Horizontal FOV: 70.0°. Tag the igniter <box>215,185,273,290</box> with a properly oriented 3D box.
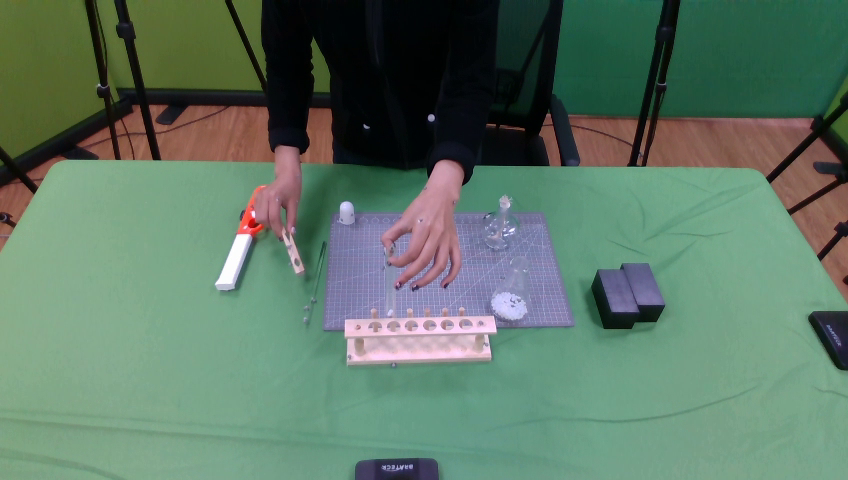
[{"bbox_3d":[-0.348,-0.014,1.182,0.057,0.025,0.275,-1,45,8],"label":"igniter"}]

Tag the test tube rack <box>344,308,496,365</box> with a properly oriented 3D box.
[{"bbox_3d":[-0.009,0.154,1.007,0.242,0.085,0.066,-1,46,-5],"label":"test tube rack"}]

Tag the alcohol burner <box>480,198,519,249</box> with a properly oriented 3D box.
[{"bbox_3d":[0.150,-0.038,1.182,0.078,0.119,0.077,3,47,-3],"label":"alcohol burner"}]

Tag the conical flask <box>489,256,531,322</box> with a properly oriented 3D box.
[{"bbox_3d":[0.158,0.081,1.060,0.075,0.122,0.075,2,46,-2],"label":"conical flask"}]

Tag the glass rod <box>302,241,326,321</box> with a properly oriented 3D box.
[{"bbox_3d":[-0.203,0.071,1.124,0.008,0.008,0.198,5,44,1],"label":"glass rod"}]

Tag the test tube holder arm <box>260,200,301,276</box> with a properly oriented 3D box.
[{"bbox_3d":[-0.269,-0.006,1.130,0.013,0.015,0.177,-17,60,-33],"label":"test tube holder arm"}]

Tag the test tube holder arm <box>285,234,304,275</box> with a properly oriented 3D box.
[{"bbox_3d":[-0.242,0.026,1.114,0.010,0.015,0.087,-14,59,-32],"label":"test tube holder arm"}]

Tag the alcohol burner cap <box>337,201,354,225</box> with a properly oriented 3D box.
[{"bbox_3d":[-0.159,-0.056,1.224,0.034,0.048,0.033,2,46,-2],"label":"alcohol burner cap"}]

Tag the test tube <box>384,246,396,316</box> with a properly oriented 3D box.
[{"bbox_3d":[-0.051,0.065,0.897,0.017,0.151,0.017,2,46,-2],"label":"test tube"}]
